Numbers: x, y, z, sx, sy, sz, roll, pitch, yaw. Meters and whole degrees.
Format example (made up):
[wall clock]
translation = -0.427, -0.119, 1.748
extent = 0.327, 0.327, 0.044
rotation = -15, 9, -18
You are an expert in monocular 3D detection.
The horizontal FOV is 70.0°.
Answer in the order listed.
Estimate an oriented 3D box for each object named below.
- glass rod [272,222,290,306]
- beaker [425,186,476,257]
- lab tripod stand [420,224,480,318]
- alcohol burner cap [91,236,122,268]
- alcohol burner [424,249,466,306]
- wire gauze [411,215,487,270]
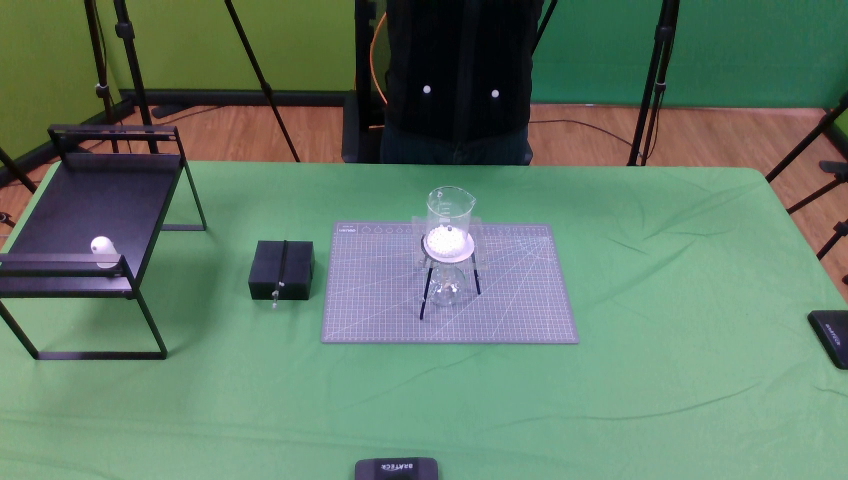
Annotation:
[glass rod]
translation = -0.255, 0.039, 1.084
extent = 0.008, 0.008, 0.198
rotation = 1, 46, -3
[beaker]
translation = 0.041, -0.028, 0.989
extent = 0.084, 0.101, 0.073
rotation = -12, 48, -15
[lab tripod stand]
translation = 0.034, 0.051, 1.070
extent = 0.148, 0.132, 0.147
rotation = 3, 48, -3
[alcohol burner cap]
translation = -0.465, 0.015, 0.883
extent = 0.034, 0.048, 0.033
rotation = 1, 47, -1
[alcohol burner]
translation = 0.038, 0.061, 1.075
extent = 0.078, 0.120, 0.077
rotation = 1, 44, -1
[wire gauze]
translation = 0.041, 0.003, 1.026
extent = 0.125, 0.011, 0.120
rotation = 0, 46, -2
